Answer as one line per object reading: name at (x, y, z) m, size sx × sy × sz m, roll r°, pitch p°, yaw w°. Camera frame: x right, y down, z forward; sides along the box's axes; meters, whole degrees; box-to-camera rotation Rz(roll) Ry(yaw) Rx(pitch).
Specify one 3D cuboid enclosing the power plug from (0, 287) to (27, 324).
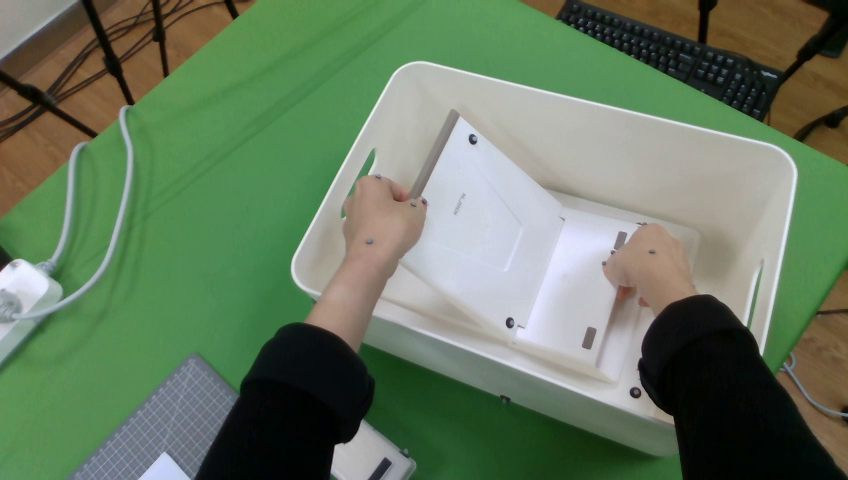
power plug at (-0.445, 0.080, 0.651) m, size 0.035 × 0.053 × 0.072 m, roll -42°, pitch 72°, yaw -14°

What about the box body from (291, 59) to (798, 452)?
box body at (0.104, 0.014, 0.564) m, size 0.362 × 0.162 × 0.253 m, roll 18°, pitch 67°, yaw 16°

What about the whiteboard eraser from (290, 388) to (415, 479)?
whiteboard eraser at (-0.067, 0.193, 0.566) m, size 0.112 × 0.042 × 0.055 m, roll 33°, pitch 70°, yaw 21°

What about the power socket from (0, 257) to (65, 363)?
power socket at (-0.496, 0.114, 0.666) m, size 0.072 × 0.033 × 0.226 m, roll 31°, pitch 71°, yaw 19°

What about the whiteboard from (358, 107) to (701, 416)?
whiteboard at (0.098, 0.002, 0.570) m, size 0.304 × 0.145 × 0.216 m, roll 18°, pitch 65°, yaw 16°
